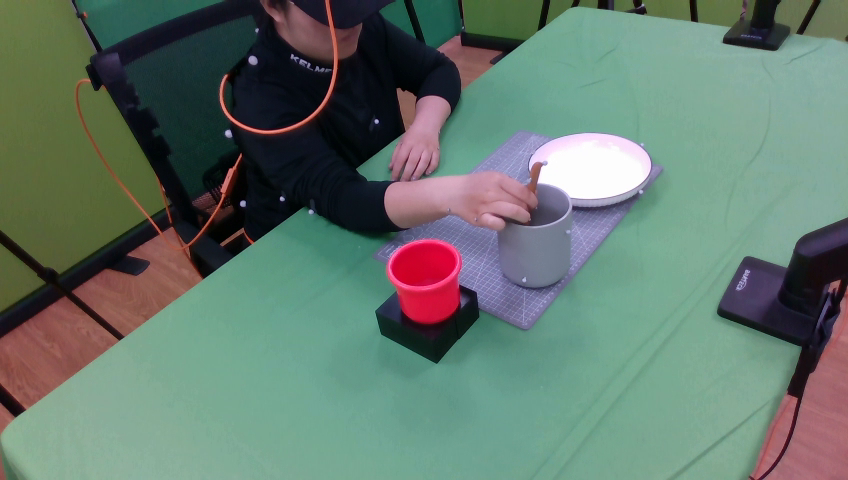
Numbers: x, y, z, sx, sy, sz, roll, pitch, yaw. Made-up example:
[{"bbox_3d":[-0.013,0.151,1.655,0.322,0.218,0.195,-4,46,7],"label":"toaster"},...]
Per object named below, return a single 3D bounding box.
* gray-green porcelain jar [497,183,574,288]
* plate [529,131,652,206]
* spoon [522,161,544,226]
[{"bbox_3d":[0.160,-0.003,0.870,0.106,0.127,0.105,-5,40,5],"label":"gray-green porcelain jar"},{"bbox_3d":[0.287,-0.121,1.056,0.207,0.039,0.206,-5,40,5],"label":"plate"},{"bbox_3d":[0.143,-0.038,0.837,0.041,0.194,0.021,3,46,3],"label":"spoon"}]
